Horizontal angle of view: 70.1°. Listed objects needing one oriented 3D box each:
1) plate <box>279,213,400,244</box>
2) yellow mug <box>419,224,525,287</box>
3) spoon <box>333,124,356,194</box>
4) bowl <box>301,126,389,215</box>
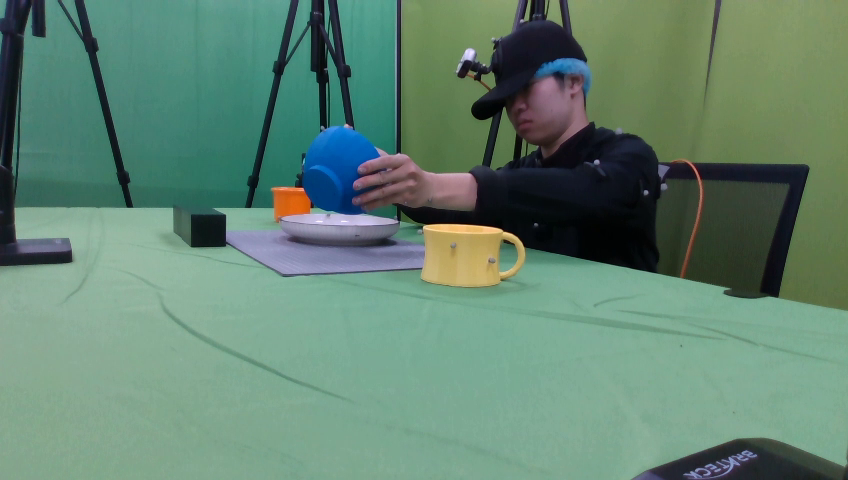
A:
[{"bbox_3d":[-0.147,-0.020,1.060,0.209,0.038,0.209,3,7,0],"label":"plate"},{"bbox_3d":[0.060,0.018,0.746,0.131,0.064,0.100,3,7,-7],"label":"yellow mug"},{"bbox_3d":[-0.140,-0.147,1.064,0.042,0.021,0.193,11,39,-18],"label":"spoon"},{"bbox_3d":[-0.139,-0.095,0.952,0.150,0.151,0.077,7,35,33],"label":"bowl"}]
